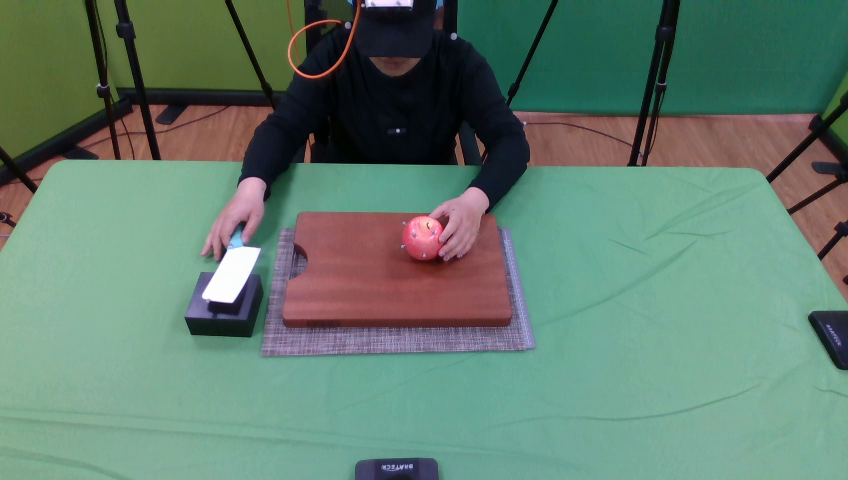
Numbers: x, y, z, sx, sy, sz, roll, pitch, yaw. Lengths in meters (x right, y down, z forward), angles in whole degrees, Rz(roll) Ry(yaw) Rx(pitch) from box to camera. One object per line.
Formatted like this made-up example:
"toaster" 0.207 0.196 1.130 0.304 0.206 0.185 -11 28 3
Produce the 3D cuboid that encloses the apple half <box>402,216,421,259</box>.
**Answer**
"apple half" -0.026 -0.001 1.121 0.033 0.081 0.081 0 46 -10

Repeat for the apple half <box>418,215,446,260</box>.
"apple half" 0.013 -0.002 1.127 0.053 0.075 0.080 1 43 -10

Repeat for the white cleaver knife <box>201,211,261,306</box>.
"white cleaver knife" -0.337 0.030 1.112 0.066 0.021 0.285 14 33 -8
